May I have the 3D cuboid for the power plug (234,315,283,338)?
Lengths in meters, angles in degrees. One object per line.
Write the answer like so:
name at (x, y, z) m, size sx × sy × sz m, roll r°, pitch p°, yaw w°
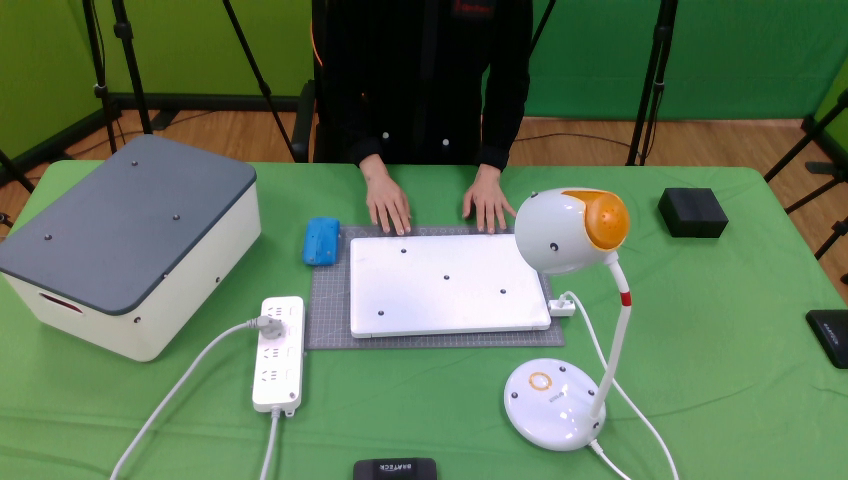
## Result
power plug at (-0.269, 0.143, 1.000) m, size 0.072 × 0.053 × 0.035 m, roll 5°, pitch 47°, yaw 2°

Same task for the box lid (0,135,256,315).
box lid at (-0.480, -0.044, 1.002) m, size 0.263 × 0.015 × 0.370 m, roll 18°, pitch 47°, yaw 12°

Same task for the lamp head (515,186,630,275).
lamp head at (0.188, -0.013, 0.728) m, size 0.112 × 0.112 × 0.122 m, roll -25°, pitch 9°, yaw -25°

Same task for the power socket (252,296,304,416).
power socket at (-0.238, 0.182, 0.997) m, size 0.072 × 0.033 × 0.225 m, roll -3°, pitch 47°, yaw -5°

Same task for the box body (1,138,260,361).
box body at (-0.482, 0.006, 1.056) m, size 0.254 × 0.161 × 0.362 m, roll 17°, pitch 47°, yaw 12°

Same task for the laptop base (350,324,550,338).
laptop base at (0.039, 0.081, 1.124) m, size 0.355 × 0.023 × 0.234 m, roll -2°, pitch 43°, yaw -6°

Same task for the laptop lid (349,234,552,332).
laptop lid at (0.040, 0.071, 1.118) m, size 0.357 × 0.013 × 0.240 m, roll 0°, pitch 44°, yaw -5°

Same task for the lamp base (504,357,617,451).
lamp base at (0.220, 0.211, 0.903) m, size 0.160 × 0.181 × 0.178 m, roll -33°, pitch 59°, yaw -30°

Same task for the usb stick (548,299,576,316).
usb stick at (0.239, 0.121, 1.084) m, size 0.059 × 0.027 × 0.021 m, roll -1°, pitch 51°, yaw -1°

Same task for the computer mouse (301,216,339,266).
computer mouse at (-0.200, -0.002, 1.169) m, size 0.063 × 0.041 × 0.116 m, roll 3°, pitch 50°, yaw -3°
